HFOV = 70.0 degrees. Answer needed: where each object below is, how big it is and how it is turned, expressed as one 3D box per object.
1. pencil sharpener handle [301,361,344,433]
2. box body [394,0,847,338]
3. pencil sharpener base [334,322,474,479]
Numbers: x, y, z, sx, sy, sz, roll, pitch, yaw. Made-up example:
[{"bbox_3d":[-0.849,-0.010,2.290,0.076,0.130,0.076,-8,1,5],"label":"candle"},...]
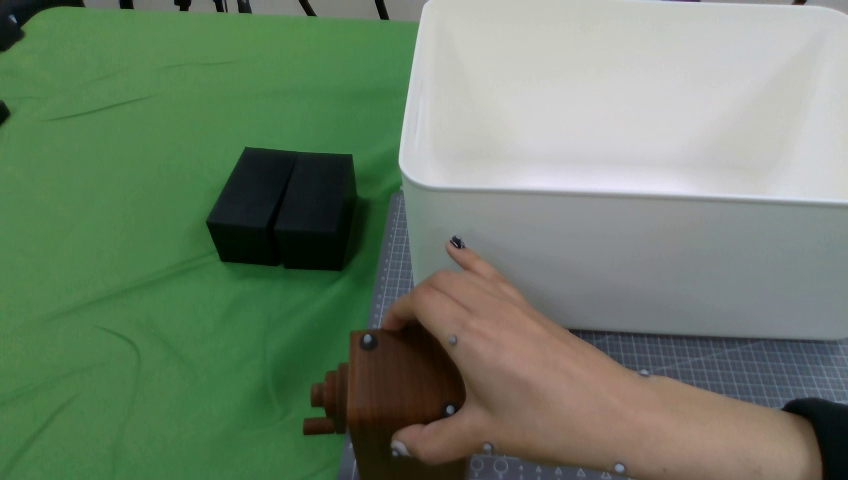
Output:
[{"bbox_3d":[-0.063,0.100,0.365,0.031,0.068,0.035,-3,50,-2],"label":"pencil sharpener handle"},{"bbox_3d":[0.169,-0.064,0.497,0.364,0.162,0.251,2,47,2],"label":"box body"},{"bbox_3d":[-0.012,0.106,0.377,0.077,0.108,0.060,-3,48,-2],"label":"pencil sharpener base"}]
